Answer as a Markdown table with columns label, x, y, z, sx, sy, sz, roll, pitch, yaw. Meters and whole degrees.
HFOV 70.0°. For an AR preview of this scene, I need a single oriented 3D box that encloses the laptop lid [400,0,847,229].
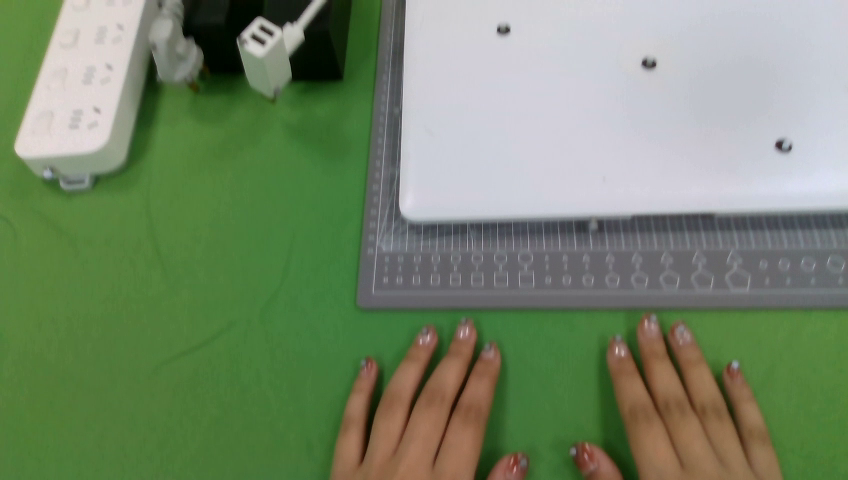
| label | x | y | z | sx | sy | sz | roll | pitch | yaw |
| --- | --- | --- | --- | --- | --- | --- | --- | --- | --- |
| laptop lid | 0.160 | -0.116 | 0.433 | 0.356 | 0.013 | 0.239 | 0 | 64 | 5 |

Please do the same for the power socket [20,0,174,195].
| label | x | y | z | sx | sy | sz | roll | pitch | yaw |
| --- | --- | --- | --- | --- | --- | --- | --- | --- | --- |
| power socket | -0.255 | -0.138 | 0.485 | 0.072 | 0.033 | 0.224 | -3 | 61 | 2 |

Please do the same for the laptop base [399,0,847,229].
| label | x | y | z | sx | sy | sz | roll | pitch | yaw |
| --- | --- | --- | --- | --- | --- | --- | --- | --- | --- |
| laptop base | 0.161 | -0.112 | 0.445 | 0.354 | 0.023 | 0.233 | -1 | 65 | 4 |

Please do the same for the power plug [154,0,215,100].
| label | x | y | z | sx | sy | sz | roll | pitch | yaw |
| --- | --- | --- | --- | --- | --- | --- | --- | --- | --- |
| power plug | -0.171 | -0.143 | 0.455 | 0.035 | 0.053 | 0.072 | 24 | 81 | 23 |

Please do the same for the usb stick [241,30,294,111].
| label | x | y | z | sx | sy | sz | roll | pitch | yaw |
| --- | --- | --- | --- | --- | --- | --- | --- | --- | --- |
| usb stick | -0.107 | -0.115 | 0.423 | 0.021 | 0.059 | 0.027 | 30 | 65 | 8 |
